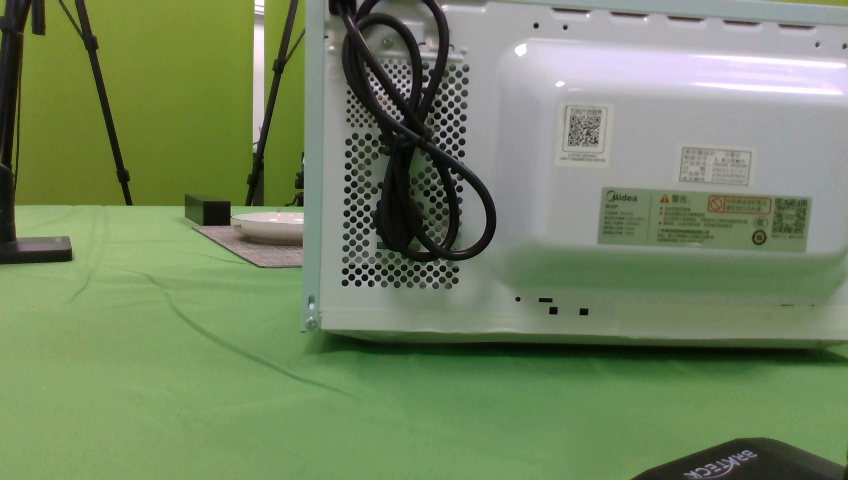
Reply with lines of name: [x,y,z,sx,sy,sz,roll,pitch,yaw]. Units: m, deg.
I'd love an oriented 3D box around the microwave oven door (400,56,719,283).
microwave oven door: [0.155,-0.077,0.698,0.356,0.243,0.039,2,8,-5]

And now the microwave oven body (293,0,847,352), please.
microwave oven body: [0.122,-0.055,0.550,0.442,0.260,0.325,3,7,-5]

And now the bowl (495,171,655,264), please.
bowl: [0.144,-0.023,0.592,0.151,0.077,0.151,1,11,0]

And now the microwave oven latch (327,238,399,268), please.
microwave oven latch: [-0.069,0.015,0.694,0.079,0.029,0.030,3,7,-3]

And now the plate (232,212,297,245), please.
plate: [-0.214,-0.019,1.018,0.208,0.039,0.207,2,7,0]
